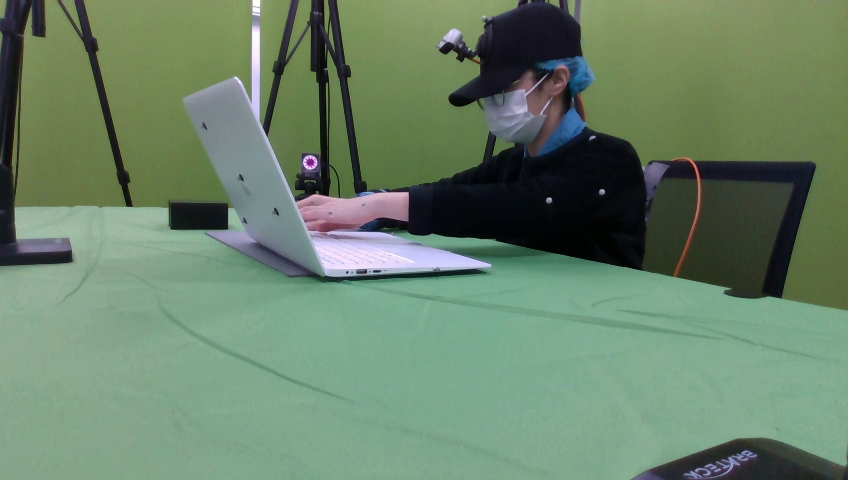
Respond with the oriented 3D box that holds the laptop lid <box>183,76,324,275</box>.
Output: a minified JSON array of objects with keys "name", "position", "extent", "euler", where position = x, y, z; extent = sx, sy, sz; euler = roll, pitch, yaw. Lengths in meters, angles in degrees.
[{"name":"laptop lid","position":[-0.237,-0.085,0.791],"extent":[0.013,0.242,0.355],"euler":[-29,22,-23]}]

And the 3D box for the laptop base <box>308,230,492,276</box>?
[{"name":"laptop base","position":[-0.094,0.016,0.888],"extent":[0.237,0.023,0.352],"euler":[2,7,-30]}]

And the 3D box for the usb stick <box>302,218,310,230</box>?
[{"name":"usb stick","position":[-0.237,-0.024,1.101],"extent":[0.021,0.027,0.059],"euler":[9,13,38]}]
